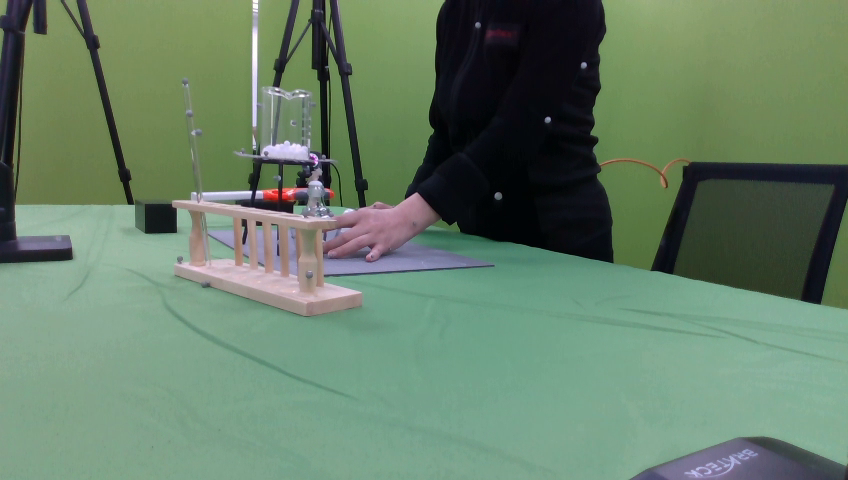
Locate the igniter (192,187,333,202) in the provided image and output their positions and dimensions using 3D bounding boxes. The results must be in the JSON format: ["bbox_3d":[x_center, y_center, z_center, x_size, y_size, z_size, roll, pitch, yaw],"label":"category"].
[{"bbox_3d":[-0.316,-0.090,1.214,0.278,0.025,0.057,-5,12,-31],"label":"igniter"}]

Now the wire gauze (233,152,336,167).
[{"bbox_3d":[-0.205,-0.118,0.887,0.122,0.011,0.124,2,4,-32],"label":"wire gauze"}]

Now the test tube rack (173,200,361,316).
[{"bbox_3d":[-0.169,0.009,0.622,0.241,0.085,0.067,9,10,41],"label":"test tube rack"}]

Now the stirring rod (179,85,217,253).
[{"bbox_3d":[-0.236,-0.073,0.634,0.006,0.176,0.014,0,9,41],"label":"stirring rod"}]

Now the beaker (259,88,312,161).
[{"bbox_3d":[-0.201,-0.166,0.876,0.074,0.100,0.083,1,7,-18],"label":"beaker"}]

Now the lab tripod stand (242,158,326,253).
[{"bbox_3d":[-0.207,-0.054,0.895,0.148,0.131,0.148,3,5,0],"label":"lab tripod stand"}]

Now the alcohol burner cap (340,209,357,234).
[{"bbox_3d":[-0.142,-0.035,1.136,0.034,0.048,0.034,2,7,0],"label":"alcohol burner cap"}]

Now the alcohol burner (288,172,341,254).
[{"bbox_3d":[-0.159,-0.039,0.877,0.078,0.119,0.078,1,6,0],"label":"alcohol burner"}]
